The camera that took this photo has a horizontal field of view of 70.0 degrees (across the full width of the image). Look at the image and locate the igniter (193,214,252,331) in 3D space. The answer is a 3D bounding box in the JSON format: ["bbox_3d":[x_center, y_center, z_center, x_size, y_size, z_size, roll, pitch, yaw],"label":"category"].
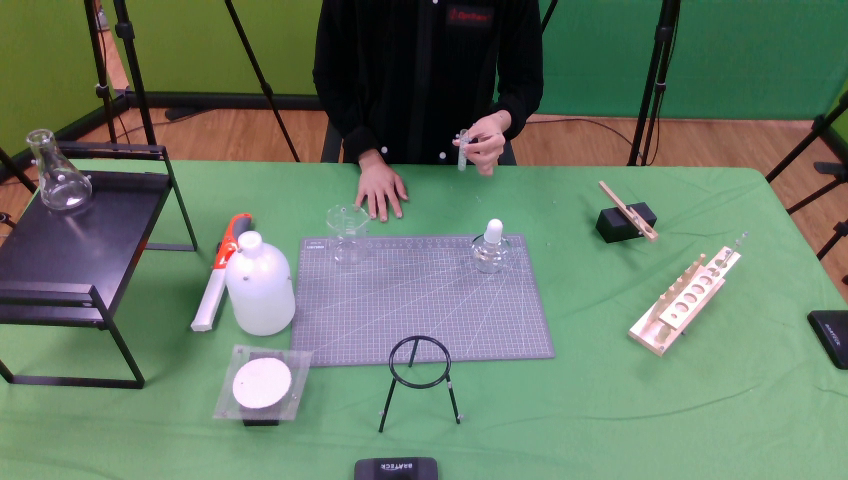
[{"bbox_3d":[-0.368,0.050,1.119,0.057,0.025,0.275,-3,46,8],"label":"igniter"}]

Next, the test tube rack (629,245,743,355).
[{"bbox_3d":[0.474,0.095,1.091,0.242,0.085,0.066,-34,56,-31],"label":"test tube rack"}]

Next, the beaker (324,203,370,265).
[{"bbox_3d":[-0.142,-0.009,1.137,0.084,0.101,0.073,-3,47,-7],"label":"beaker"}]

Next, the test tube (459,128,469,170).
[{"bbox_3d":[0.070,-0.159,1.074,0.017,0.151,0.017,-1,73,2],"label":"test tube"}]

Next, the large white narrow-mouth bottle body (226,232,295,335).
[{"bbox_3d":[-0.270,0.065,0.995,0.102,0.195,0.101,2,46,-2],"label":"large white narrow-mouth bottle body"}]

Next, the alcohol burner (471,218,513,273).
[{"bbox_3d":[0.128,0.005,1.132,0.078,0.120,0.077,0,47,0],"label":"alcohol burner"}]

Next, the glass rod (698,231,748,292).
[{"bbox_3d":[0.514,0.044,1.051,0.008,0.200,0.008,1,55,-1],"label":"glass rod"}]

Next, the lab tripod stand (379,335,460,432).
[{"bbox_3d":[-0.011,0.214,0.911,0.148,0.132,0.147,1,45,0],"label":"lab tripod stand"}]

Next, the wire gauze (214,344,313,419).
[{"bbox_3d":[-0.241,0.213,0.915,0.121,0.011,0.124,5,46,1],"label":"wire gauze"}]

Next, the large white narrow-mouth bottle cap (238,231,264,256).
[{"bbox_3d":[-0.266,0.006,0.932,0.038,0.024,0.037,2,46,-2],"label":"large white narrow-mouth bottle cap"}]

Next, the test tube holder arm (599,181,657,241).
[{"bbox_3d":[0.407,-0.062,1.219,0.013,0.015,0.177,-23,51,-13],"label":"test tube holder arm"}]

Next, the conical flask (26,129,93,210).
[{"bbox_3d":[-0.575,-0.113,0.946,0.075,0.122,0.075,2,46,-2],"label":"conical flask"}]

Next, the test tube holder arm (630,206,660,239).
[{"bbox_3d":[0.431,-0.034,1.192,0.010,0.015,0.087,-23,51,-12],"label":"test tube holder arm"}]

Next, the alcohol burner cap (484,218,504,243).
[{"bbox_3d":[0.130,-0.021,1.106,0.034,0.048,0.033,3,51,-4],"label":"alcohol burner cap"}]
